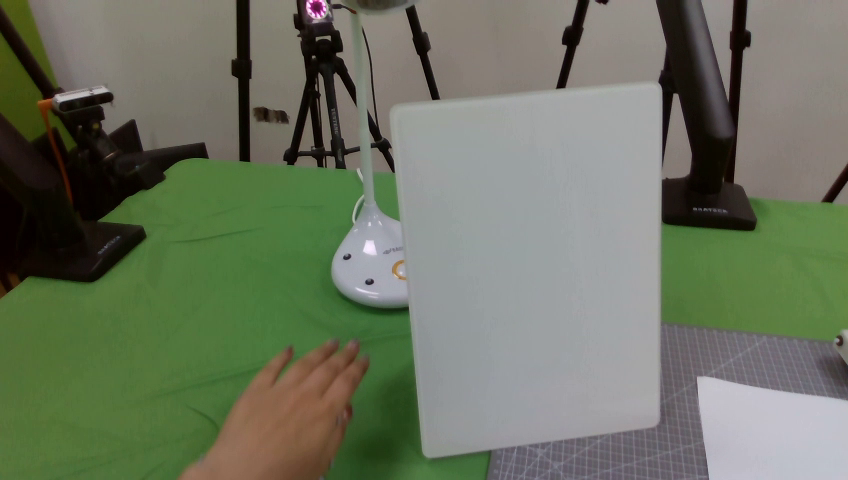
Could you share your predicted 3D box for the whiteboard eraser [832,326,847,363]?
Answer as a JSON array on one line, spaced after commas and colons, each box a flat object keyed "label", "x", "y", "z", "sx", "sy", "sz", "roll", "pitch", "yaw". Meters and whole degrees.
[{"label": "whiteboard eraser", "x": 0.464, "y": 0.111, "z": 0.581, "sx": 0.112, "sy": 0.042, "sz": 0.055, "roll": 1, "pitch": 34, "yaw": 5}]

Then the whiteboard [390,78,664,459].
[{"label": "whiteboard", "x": 0.087, "y": 0.016, "z": 0.566, "sx": 0.217, "sy": 0.306, "sz": 0.143, "roll": -6, "pitch": 14, "yaw": -4}]

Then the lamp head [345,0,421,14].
[{"label": "lamp head", "x": -0.045, "y": -0.278, "z": 0.530, "sx": 0.113, "sy": 0.113, "sz": 0.121, "roll": -16, "pitch": 60, "yaw": -19}]

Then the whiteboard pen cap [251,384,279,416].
[{"label": "whiteboard pen cap", "x": -0.149, "y": 0.153, "z": 0.570, "sx": 0.018, "sy": 0.018, "sz": 0.033, "roll": -24, "pitch": 44, "yaw": -29}]

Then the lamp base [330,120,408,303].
[{"label": "lamp base", "x": -0.047, "y": -0.043, "z": 0.727, "sx": 0.161, "sy": 0.182, "sz": 0.177, "roll": -22, "pitch": 35, "yaw": -28}]

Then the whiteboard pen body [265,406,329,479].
[{"label": "whiteboard pen body", "x": -0.114, "y": 0.181, "z": 0.532, "sx": 0.017, "sy": 0.017, "sz": 0.139, "roll": -24, "pitch": 42, "yaw": -29}]
